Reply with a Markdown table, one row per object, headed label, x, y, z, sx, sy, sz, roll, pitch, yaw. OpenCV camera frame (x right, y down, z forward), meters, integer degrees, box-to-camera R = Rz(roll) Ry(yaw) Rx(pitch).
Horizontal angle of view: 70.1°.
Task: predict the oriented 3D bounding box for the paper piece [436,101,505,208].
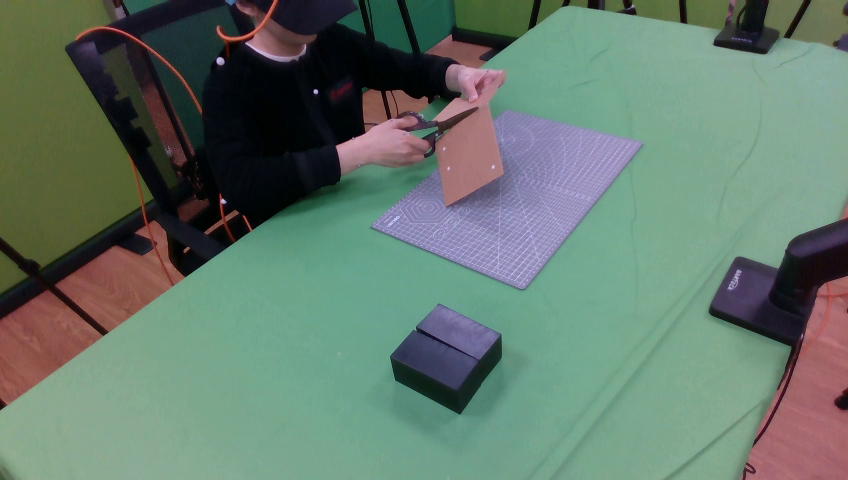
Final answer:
| label | x | y | z | sx | sy | sz | roll | pitch | yaw |
| --- | --- | --- | --- | --- | --- | --- | --- | --- | --- |
| paper piece | 0.074 | -0.142 | 1.028 | 0.009 | 0.135 | 0.137 | 6 | 65 | -39 |

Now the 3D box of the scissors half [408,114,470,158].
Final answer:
| label | x | y | z | sx | sy | sz | roll | pitch | yaw |
| --- | --- | --- | --- | --- | --- | --- | --- | --- | --- |
| scissors half | 0.037 | -0.189 | 1.078 | 0.174 | 0.040 | 0.013 | -25 | 17 | 40 |

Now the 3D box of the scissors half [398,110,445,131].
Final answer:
| label | x | y | z | sx | sy | sz | roll | pitch | yaw |
| --- | --- | --- | --- | --- | --- | --- | --- | --- | --- |
| scissors half | 0.030 | -0.209 | 1.070 | 0.174 | 0.040 | 0.013 | 8 | 31 | 27 |

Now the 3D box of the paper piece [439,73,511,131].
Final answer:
| label | x | y | z | sx | sy | sz | roll | pitch | yaw |
| --- | --- | --- | --- | --- | --- | --- | --- | --- | --- |
| paper piece | 0.088 | -0.246 | 1.099 | 0.134 | 0.004 | 0.135 | -23 | 26 | 40 |
